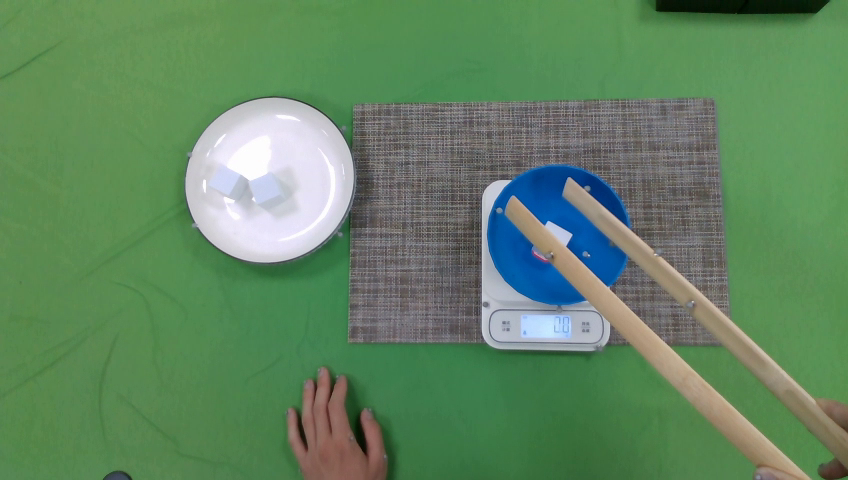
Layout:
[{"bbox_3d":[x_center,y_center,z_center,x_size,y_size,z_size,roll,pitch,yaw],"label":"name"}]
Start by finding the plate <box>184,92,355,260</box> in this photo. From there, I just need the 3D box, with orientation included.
[{"bbox_3d":[-0.186,-0.076,0.744,0.207,0.039,0.207,0,82,3],"label":"plate"}]

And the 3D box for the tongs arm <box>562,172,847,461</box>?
[{"bbox_3d":[0.230,0.071,0.496,0.051,0.027,0.381,-21,54,-29],"label":"tongs arm"}]

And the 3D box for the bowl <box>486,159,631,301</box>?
[{"bbox_3d":[0.140,-0.005,0.664,0.151,0.077,0.151,0,82,2],"label":"bowl"}]

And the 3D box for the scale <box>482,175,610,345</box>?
[{"bbox_3d":[0.143,0.023,0.713,0.148,0.031,0.200,0,82,3],"label":"scale"}]

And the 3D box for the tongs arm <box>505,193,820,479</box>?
[{"bbox_3d":[0.193,0.085,0.476,0.028,0.028,0.383,-21,54,-33],"label":"tongs arm"}]
